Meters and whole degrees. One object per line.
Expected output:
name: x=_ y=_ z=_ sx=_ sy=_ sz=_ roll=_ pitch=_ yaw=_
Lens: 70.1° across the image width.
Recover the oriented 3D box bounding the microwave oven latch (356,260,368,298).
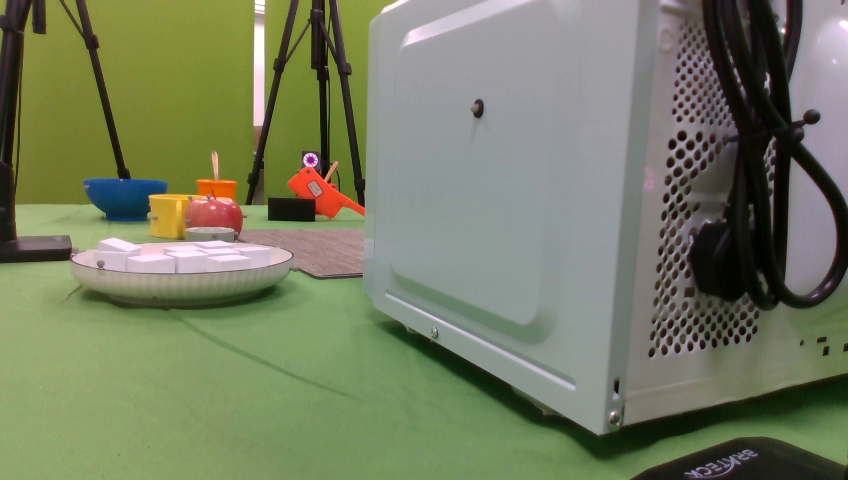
microwave oven latch: x=-0.020 y=0.033 z=0.530 sx=0.079 sy=0.029 sz=0.030 roll=0 pitch=7 yaw=-26

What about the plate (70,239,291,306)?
plate: x=-0.242 y=0.031 z=0.618 sx=0.208 sy=0.039 sz=0.207 roll=3 pitch=8 yaw=0

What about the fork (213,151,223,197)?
fork: x=-0.494 y=-0.143 z=1.442 sx=0.028 sy=0.018 sz=0.206 roll=-3 pitch=52 yaw=-19

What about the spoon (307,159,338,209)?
spoon: x=-0.257 y=-0.147 z=1.567 sx=0.041 sy=0.022 sz=0.193 roll=1 pitch=50 yaw=20

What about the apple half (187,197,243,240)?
apple half: x=-0.305 y=-0.026 z=0.907 sx=0.053 sy=0.074 sz=0.081 roll=12 pitch=8 yaw=31

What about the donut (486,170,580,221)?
donut: x=0.113 y=-0.045 z=0.636 sx=0.099 sy=0.048 sz=0.099 roll=11 pitch=3 yaw=0

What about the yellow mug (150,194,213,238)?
yellow mug: x=-0.401 y=-0.040 z=1.003 sx=0.100 sy=0.064 sz=0.130 roll=-1 pitch=9 yaw=-20

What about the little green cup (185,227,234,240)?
little green cup: x=-0.285 y=0.005 z=0.805 sx=0.061 sy=0.038 sz=0.061 roll=2 pitch=8 yaw=0

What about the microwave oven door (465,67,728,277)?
microwave oven door: x=0.207 y=-0.096 z=0.814 sx=0.354 sy=0.243 sz=0.039 roll=9 pitch=11 yaw=42

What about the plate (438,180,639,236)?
plate: x=0.117 y=-0.035 z=0.639 sx=0.209 sy=0.038 sz=0.209 roll=7 pitch=8 yaw=-1

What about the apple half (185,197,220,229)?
apple half: x=-0.338 y=-0.031 z=0.927 sx=0.032 sy=0.081 sz=0.081 roll=12 pitch=12 yaw=31

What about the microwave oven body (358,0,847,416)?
microwave oven body: x=0.211 y=-0.047 z=0.475 sx=0.444 sy=0.260 sz=0.324 roll=-1 pitch=7 yaw=-28

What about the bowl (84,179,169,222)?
bowl: x=-0.584 y=-0.078 z=1.194 sx=0.151 sy=0.077 sz=0.151 roll=3 pitch=8 yaw=0

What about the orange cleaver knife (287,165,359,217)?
orange cleaver knife: x=-0.211 y=-0.092 z=1.382 sx=0.212 sy=0.077 sz=0.012 roll=34 pitch=1 yaw=-15
